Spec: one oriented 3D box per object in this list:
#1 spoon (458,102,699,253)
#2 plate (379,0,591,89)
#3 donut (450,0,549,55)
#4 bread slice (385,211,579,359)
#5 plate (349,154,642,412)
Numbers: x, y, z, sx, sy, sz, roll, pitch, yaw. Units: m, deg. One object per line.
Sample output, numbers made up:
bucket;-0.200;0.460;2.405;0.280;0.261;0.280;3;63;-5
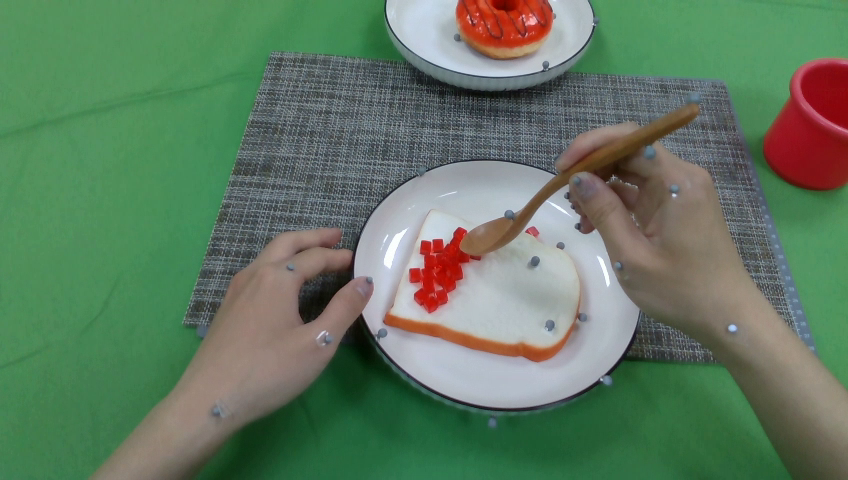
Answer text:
spoon;0.080;-0.032;0.367;0.022;0.194;0.041;44;54;-5
plate;0.060;-0.218;0.608;0.208;0.039;0.205;2;55;-2
donut;0.074;-0.223;0.598;0.099;0.048;0.098;2;57;-2
bread slice;0.048;0.031;0.446;0.131;0.019;0.104;12;57;9
plate;0.050;0.026;0.444;0.209;0.038;0.207;1;57;-1
